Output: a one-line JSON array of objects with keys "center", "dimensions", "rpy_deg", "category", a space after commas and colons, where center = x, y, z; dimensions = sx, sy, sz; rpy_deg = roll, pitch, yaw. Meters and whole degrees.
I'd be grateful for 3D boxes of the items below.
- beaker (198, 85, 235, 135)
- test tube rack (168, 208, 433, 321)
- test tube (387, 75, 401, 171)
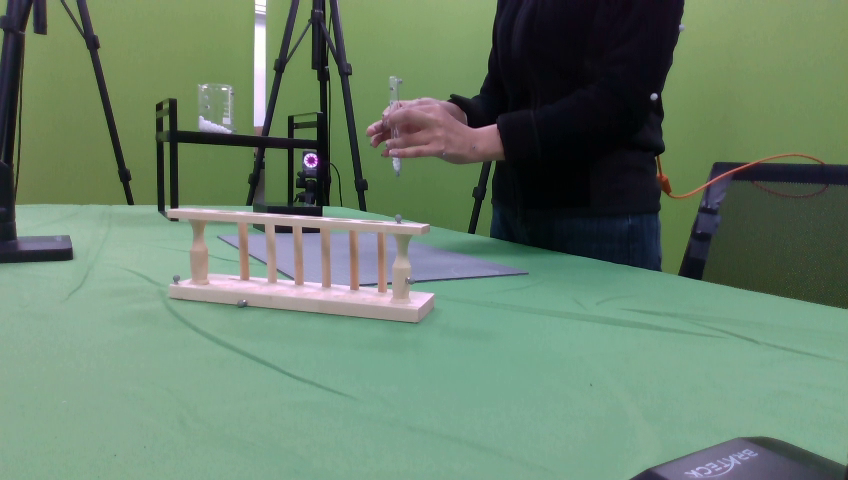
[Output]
[{"center": [-0.439, -0.273, 1.275], "dimensions": [0.074, 0.100, 0.084], "rpy_deg": [5, 8, 19], "category": "beaker"}, {"center": [-0.116, 0.017, 0.574], "dimensions": [0.242, 0.085, 0.067], "rpy_deg": [4, 8, 13], "category": "test tube rack"}, {"center": [-0.047, -0.183, 0.945], "dimensions": [0.017, 0.150, 0.017], "rpy_deg": [-3, -4, 0], "category": "test tube"}]
